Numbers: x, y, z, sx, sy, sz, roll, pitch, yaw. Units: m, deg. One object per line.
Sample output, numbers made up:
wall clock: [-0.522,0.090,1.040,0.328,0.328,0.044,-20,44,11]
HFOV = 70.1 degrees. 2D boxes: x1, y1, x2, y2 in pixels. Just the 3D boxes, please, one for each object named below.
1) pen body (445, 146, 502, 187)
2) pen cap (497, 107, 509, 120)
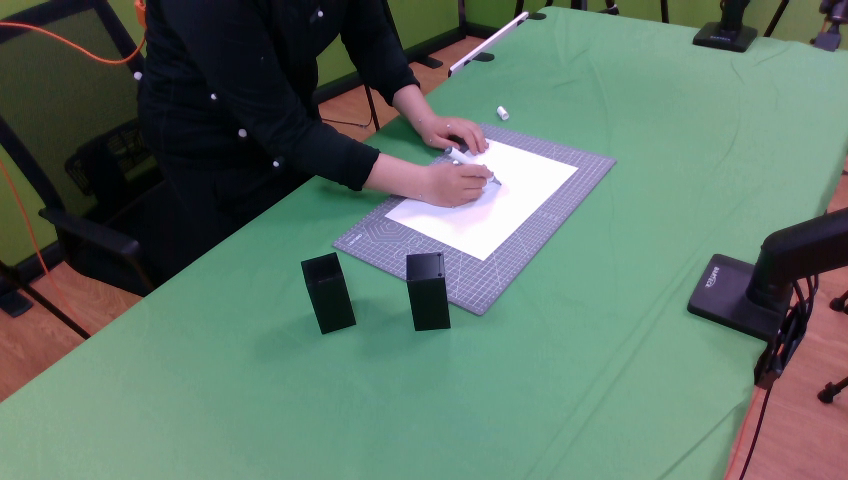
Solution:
pen body: [0.088,-0.121,1.030,0.017,0.145,0.017,-25,53,38]
pen cap: [0.164,-0.264,1.262,0.017,0.017,0.038,-14,41,-7]
